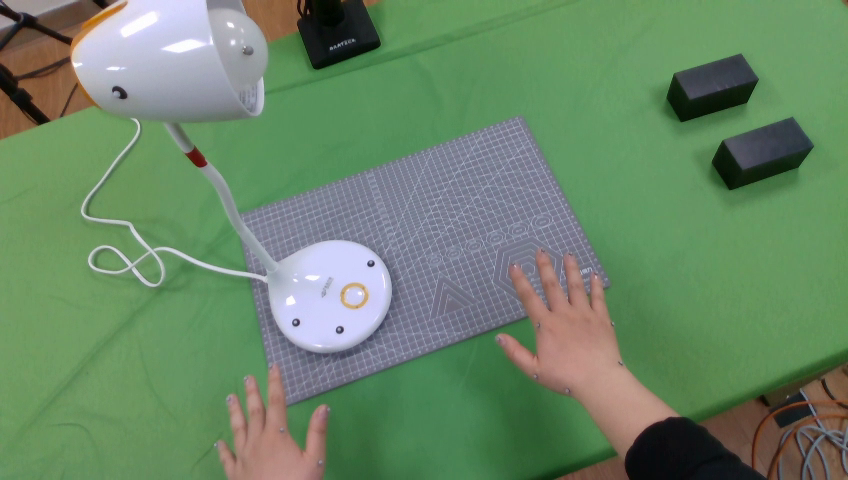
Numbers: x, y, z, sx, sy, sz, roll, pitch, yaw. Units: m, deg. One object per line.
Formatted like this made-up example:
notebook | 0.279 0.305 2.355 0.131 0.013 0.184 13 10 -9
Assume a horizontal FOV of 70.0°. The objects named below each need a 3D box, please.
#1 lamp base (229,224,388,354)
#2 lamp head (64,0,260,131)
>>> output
lamp base | -0.150 0.038 0.735 0.179 0.182 0.159 3 64 13
lamp head | -0.197 -0.133 0.458 0.123 0.113 0.111 -15 63 7
